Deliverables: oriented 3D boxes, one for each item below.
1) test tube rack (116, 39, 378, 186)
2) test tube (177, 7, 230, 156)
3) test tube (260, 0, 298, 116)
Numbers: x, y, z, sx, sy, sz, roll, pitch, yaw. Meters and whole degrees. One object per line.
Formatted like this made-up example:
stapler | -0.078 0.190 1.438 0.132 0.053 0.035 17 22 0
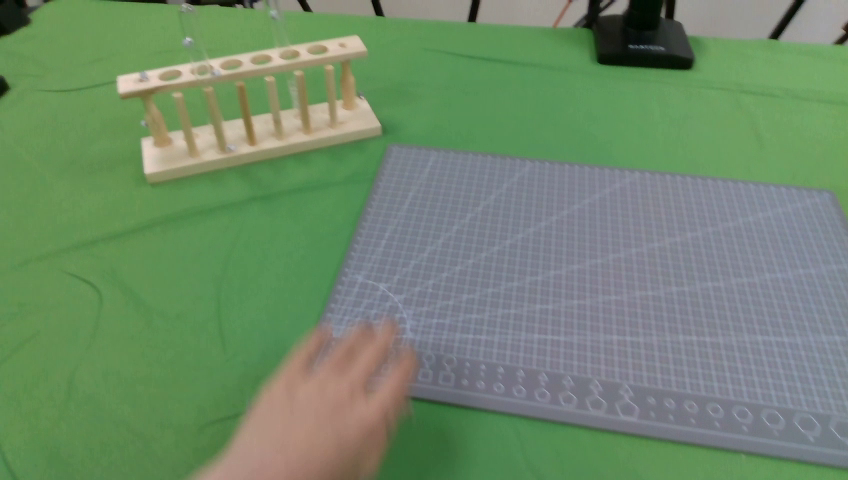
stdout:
test tube rack | -0.174 -0.135 0.627 0.243 0.086 0.066 -15 46 -15
test tube | -0.207 -0.144 0.572 0.017 0.152 0.017 0 43 0
test tube | -0.144 -0.192 0.613 0.017 0.152 0.017 -3 44 4
